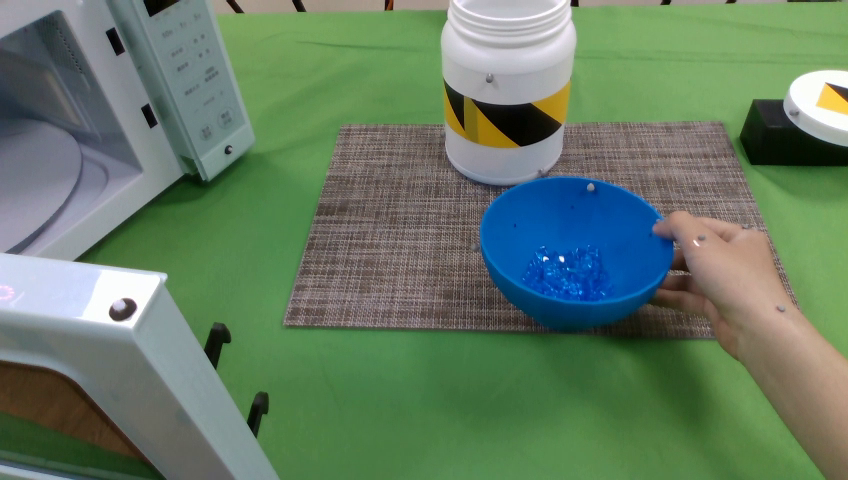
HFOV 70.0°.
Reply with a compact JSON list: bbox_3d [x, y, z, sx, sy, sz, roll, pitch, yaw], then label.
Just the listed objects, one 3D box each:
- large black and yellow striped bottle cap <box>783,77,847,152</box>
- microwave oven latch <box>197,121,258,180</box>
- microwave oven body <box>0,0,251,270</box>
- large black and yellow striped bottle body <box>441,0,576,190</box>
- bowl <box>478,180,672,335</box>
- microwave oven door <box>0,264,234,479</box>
[{"bbox_3d":[0.434,-0.130,0.620,0.115,0.019,0.114,-3,45,3],"label":"large black and yellow striped bottle cap"},{"bbox_3d":[-0.221,-0.103,0.674,0.030,0.030,0.079,24,53,24],"label":"microwave oven latch"},{"bbox_3d":[-0.446,-0.108,0.562,0.324,0.263,0.440,23,53,23],"label":"microwave oven body"},{"bbox_3d":[0.084,-0.159,0.622,0.131,0.186,0.129,-2,46,3],"label":"large black and yellow striped bottle body"},{"bbox_3d":[0.119,0.026,0.503,0.151,0.077,0.150,-1,43,2],"label":"bowl"},{"bbox_3d":[-0.271,0.089,0.354,0.355,0.246,0.039,6,47,10],"label":"microwave oven door"}]
